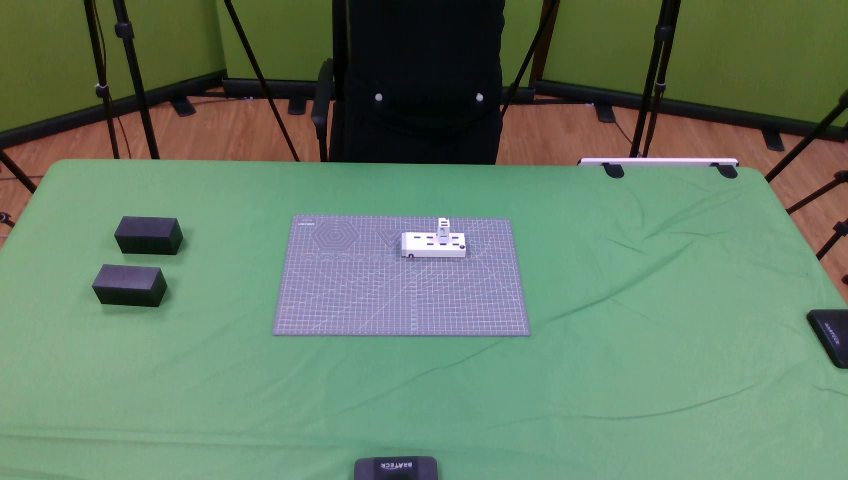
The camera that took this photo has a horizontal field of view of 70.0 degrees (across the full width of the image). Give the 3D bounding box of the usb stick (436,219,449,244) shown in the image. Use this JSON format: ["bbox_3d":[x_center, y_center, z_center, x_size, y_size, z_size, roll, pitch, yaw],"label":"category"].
[{"bbox_3d":[0.035,-0.012,1.166,0.021,0.059,0.027,-2,48,-6],"label":"usb stick"}]

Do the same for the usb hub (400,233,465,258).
[{"bbox_3d":[0.017,0.011,1.182,0.125,0.025,0.049,1,46,-3],"label":"usb hub"}]
